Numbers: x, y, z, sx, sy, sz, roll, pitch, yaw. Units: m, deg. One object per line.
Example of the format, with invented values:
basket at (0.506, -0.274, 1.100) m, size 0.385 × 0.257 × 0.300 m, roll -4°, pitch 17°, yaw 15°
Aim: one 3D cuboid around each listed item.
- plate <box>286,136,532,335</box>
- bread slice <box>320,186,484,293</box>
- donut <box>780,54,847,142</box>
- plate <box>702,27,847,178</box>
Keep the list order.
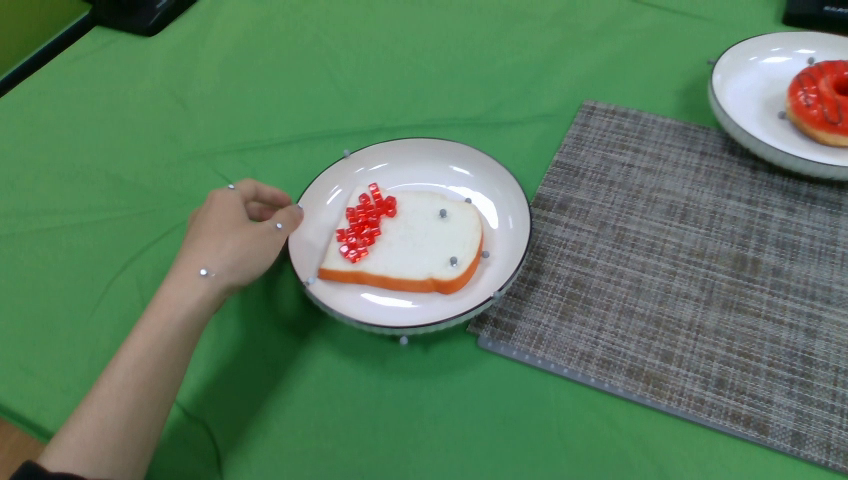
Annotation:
plate at (-0.012, -0.007, 0.522) m, size 0.209 × 0.038 × 0.207 m, roll -3°, pitch 52°, yaw 4°
bread slice at (-0.014, -0.003, 0.522) m, size 0.131 × 0.019 × 0.104 m, roll 6°, pitch 53°, yaw 12°
donut at (0.382, -0.130, 0.559) m, size 0.099 × 0.049 × 0.098 m, roll -2°, pitch 53°, yaw 4°
plate at (0.370, -0.128, 0.573) m, size 0.207 × 0.039 × 0.205 m, roll -2°, pitch 50°, yaw 3°
